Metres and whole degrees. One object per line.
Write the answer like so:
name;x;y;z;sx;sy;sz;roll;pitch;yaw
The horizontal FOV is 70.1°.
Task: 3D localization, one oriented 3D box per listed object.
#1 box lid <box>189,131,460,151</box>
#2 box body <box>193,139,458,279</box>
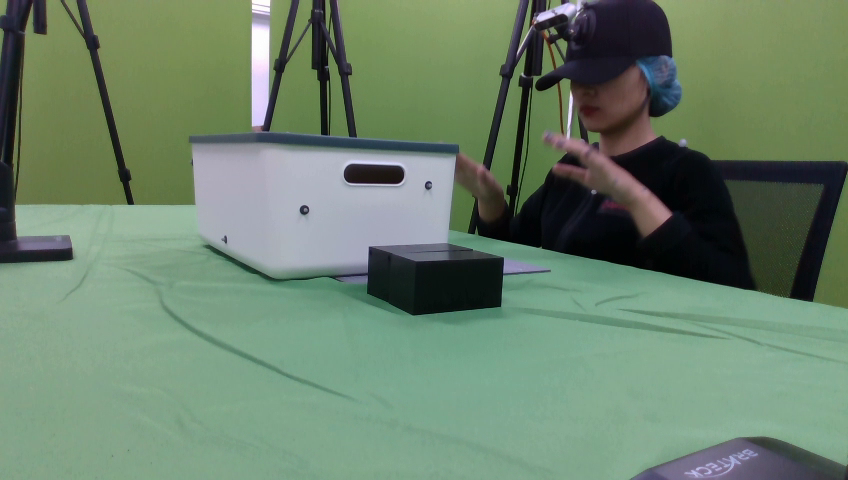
box lid;-0.150;-0.132;0.828;0.265;0.015;0.369;-3;9;-33
box body;-0.154;-0.059;0.840;0.255;0.160;0.362;-2;9;-33
